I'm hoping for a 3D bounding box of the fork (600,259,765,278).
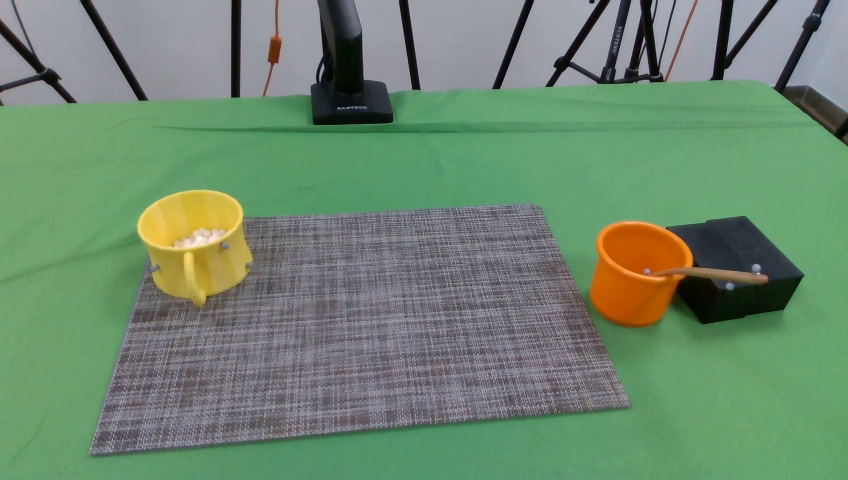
[{"bbox_3d":[0.229,0.027,0.561,0.028,0.018,0.207,-2,-4,-17],"label":"fork"}]

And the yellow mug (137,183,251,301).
[{"bbox_3d":[-0.230,0.006,0.614,0.100,0.064,0.129,-7,42,-13],"label":"yellow mug"}]
